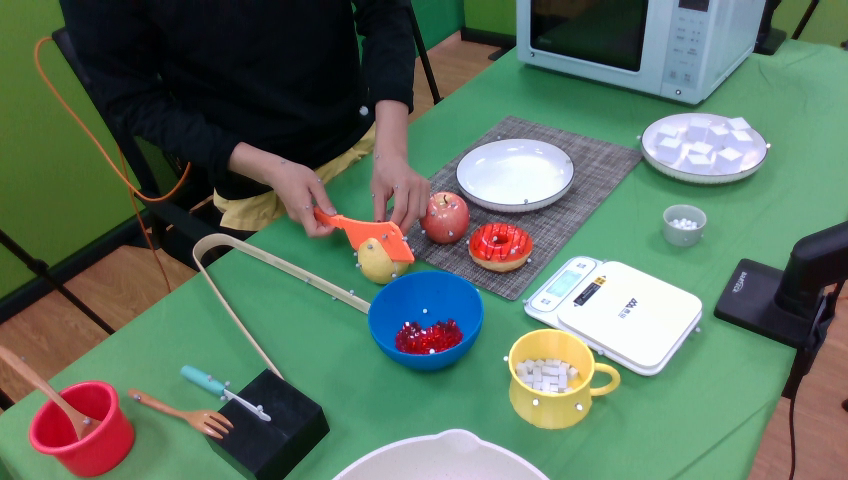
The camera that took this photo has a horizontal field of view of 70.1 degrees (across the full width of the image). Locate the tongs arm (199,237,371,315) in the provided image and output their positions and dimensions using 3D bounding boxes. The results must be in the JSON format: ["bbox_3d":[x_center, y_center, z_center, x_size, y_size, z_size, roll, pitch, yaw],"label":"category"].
[{"bbox_3d":[-0.209,0.063,0.923,0.381,0.026,0.051,22,52,32],"label":"tongs arm"}]

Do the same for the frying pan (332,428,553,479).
[{"bbox_3d":[-0.089,0.306,0.564,0.487,0.103,0.306,10,41,7],"label":"frying pan"}]

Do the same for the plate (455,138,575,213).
[{"bbox_3d":[0.159,-0.111,1.063,0.209,0.038,0.208,-4,40,4],"label":"plate"}]

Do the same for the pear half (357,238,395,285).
[{"bbox_3d":[-0.077,0.037,0.893,0.070,0.088,0.031,20,52,23],"label":"pear half"}]

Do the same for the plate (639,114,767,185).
[{"bbox_3d":[0.489,-0.157,1.074,0.207,0.039,0.206,-4,40,4],"label":"plate"}]

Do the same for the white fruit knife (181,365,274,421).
[{"bbox_3d":[-0.245,0.187,0.747,0.205,0.027,0.016,9,42,40],"label":"white fruit knife"}]

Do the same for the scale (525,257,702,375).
[{"bbox_3d":[0.254,0.091,0.821,0.199,0.032,0.149,28,51,35],"label":"scale"}]

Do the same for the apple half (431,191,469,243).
[{"bbox_3d":[0.045,-0.038,0.967,0.053,0.075,0.080,-13,38,-11],"label":"apple half"}]

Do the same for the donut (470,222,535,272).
[{"bbox_3d":[0.119,0.009,0.923,0.099,0.048,0.098,-4,39,3],"label":"donut"}]

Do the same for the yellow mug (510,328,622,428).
[{"bbox_3d":[0.168,0.164,0.722,0.130,0.064,0.099,0,40,8],"label":"yellow mug"}]

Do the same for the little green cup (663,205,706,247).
[{"bbox_3d":[0.396,-0.020,0.926,0.061,0.039,0.061,-4,40,4],"label":"little green cup"}]

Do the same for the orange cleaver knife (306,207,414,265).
[{"bbox_3d":[-0.099,-0.007,0.897,0.209,0.077,0.012,14,41,39],"label":"orange cleaver knife"}]

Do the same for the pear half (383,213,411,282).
[{"bbox_3d":[-0.052,0.003,0.902,0.076,0.110,0.056,20,35,16],"label":"pear half"}]

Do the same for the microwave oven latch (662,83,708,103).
[{"bbox_3d":[0.517,-0.296,1.204,0.078,0.029,0.030,27,52,35],"label":"microwave oven latch"}]

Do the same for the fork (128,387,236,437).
[{"bbox_3d":[-0.305,0.207,0.744,0.206,0.019,0.028,3,41,36],"label":"fork"}]

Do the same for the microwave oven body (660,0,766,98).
[{"bbox_3d":[0.472,-0.513,1.317,0.438,0.261,0.327,26,51,34],"label":"microwave oven body"}]

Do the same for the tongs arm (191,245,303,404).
[{"bbox_3d":[-0.268,0.111,0.881,0.028,0.028,0.384,-36,46,-19],"label":"tongs arm"}]

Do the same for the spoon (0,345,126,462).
[{"bbox_3d":[-0.434,0.192,0.720,0.194,0.021,0.042,47,53,-7],"label":"spoon"}]

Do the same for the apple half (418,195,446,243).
[{"bbox_3d":[0.008,-0.028,0.959,0.033,0.081,0.080,-14,41,-12],"label":"apple half"}]

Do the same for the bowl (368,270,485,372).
[{"bbox_3d":[0.007,0.118,0.791,0.151,0.077,0.150,-5,40,4],"label":"bowl"}]

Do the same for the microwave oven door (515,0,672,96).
[{"bbox_3d":[0.343,-0.454,1.259,0.353,0.245,0.039,26,51,33],"label":"microwave oven door"}]
